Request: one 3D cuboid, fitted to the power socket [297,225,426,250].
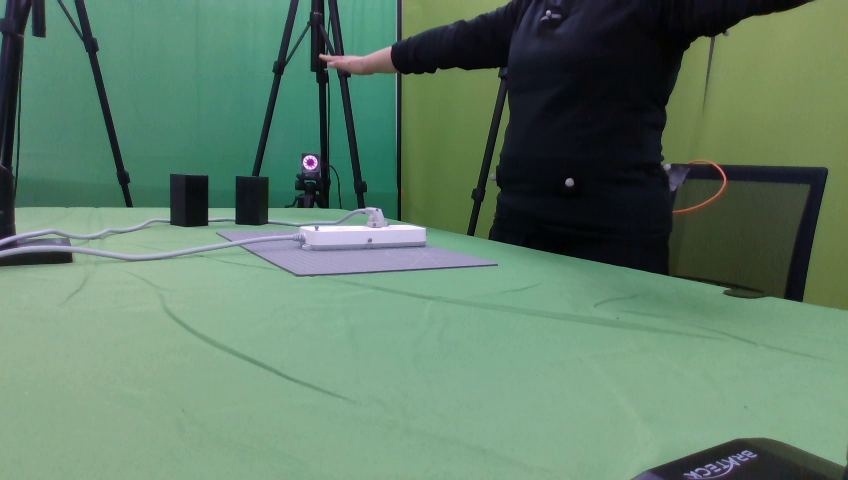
[{"bbox_3d":[-0.099,-0.006,0.992,0.228,0.032,0.072,-2,8,-31],"label":"power socket"}]

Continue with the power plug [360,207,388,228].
[{"bbox_3d":[-0.085,-0.029,1.032,0.035,0.052,0.072,1,5,-20],"label":"power plug"}]
